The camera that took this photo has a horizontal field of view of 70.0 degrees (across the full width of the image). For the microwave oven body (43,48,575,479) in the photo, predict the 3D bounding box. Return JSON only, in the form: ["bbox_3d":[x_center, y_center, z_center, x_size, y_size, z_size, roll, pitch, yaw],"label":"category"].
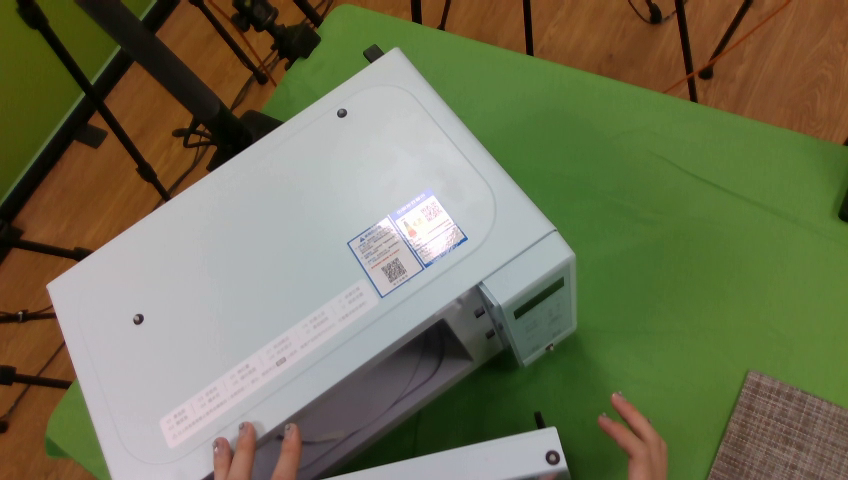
[{"bbox_3d":[-0.108,0.068,0.671,0.442,0.262,0.323,-35,64,-2],"label":"microwave oven body"}]

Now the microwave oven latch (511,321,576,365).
[{"bbox_3d":[0.137,0.111,0.701,0.079,0.030,0.030,-33,63,-1],"label":"microwave oven latch"}]

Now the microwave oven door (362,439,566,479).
[{"bbox_3d":[-0.046,0.245,0.571,0.355,0.246,0.039,-15,64,7],"label":"microwave oven door"}]
